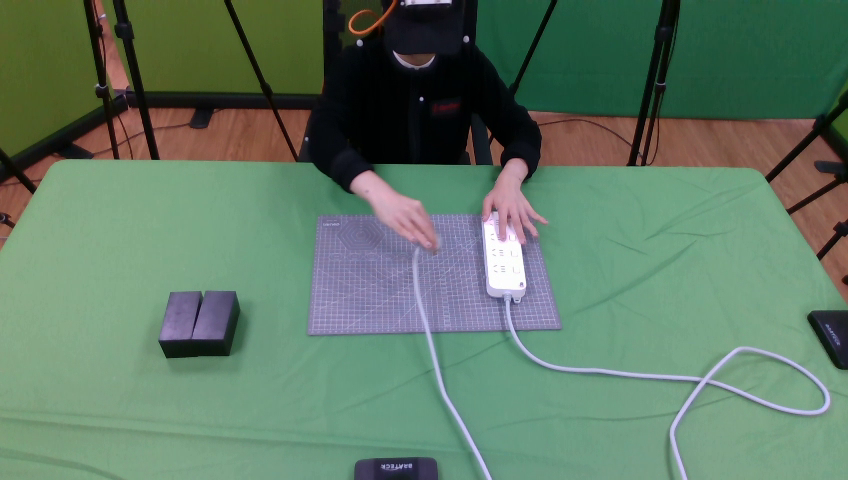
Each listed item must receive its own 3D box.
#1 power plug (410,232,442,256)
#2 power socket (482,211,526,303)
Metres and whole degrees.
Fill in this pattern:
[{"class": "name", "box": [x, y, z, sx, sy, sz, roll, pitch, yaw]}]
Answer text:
[{"class": "power plug", "box": [-0.001, 0.013, 1.110, 0.072, 0.053, 0.035, -29, 42, -20]}, {"class": "power socket", "box": [0.153, 0.025, 1.174, 0.072, 0.033, 0.225, 2, 46, -1]}]
